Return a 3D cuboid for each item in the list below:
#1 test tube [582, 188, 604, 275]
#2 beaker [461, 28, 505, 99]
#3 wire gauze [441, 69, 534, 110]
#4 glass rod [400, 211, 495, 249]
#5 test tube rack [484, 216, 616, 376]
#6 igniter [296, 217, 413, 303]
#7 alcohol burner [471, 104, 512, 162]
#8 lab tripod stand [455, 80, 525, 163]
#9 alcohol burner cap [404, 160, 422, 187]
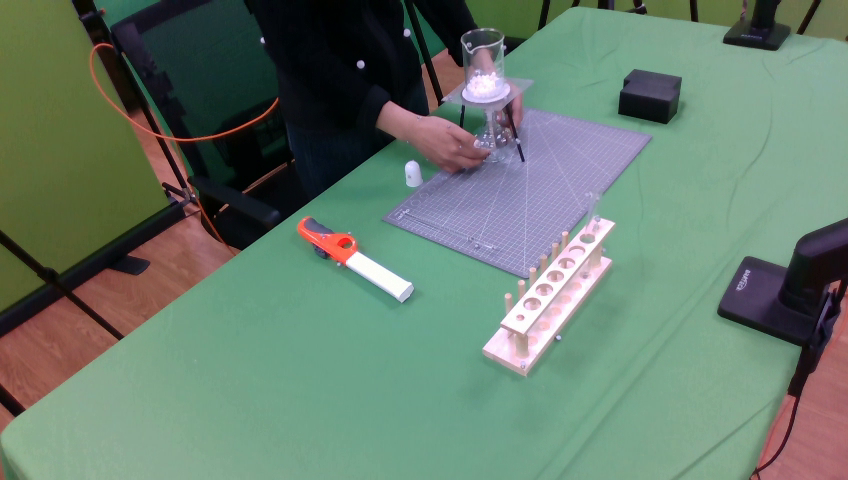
[{"bbox_3d":[0.228,-0.007,0.821,0.017,0.151,0.017,-3,42,3],"label":"test tube"},{"bbox_3d":[0.103,-0.304,1.051,0.073,0.101,0.084,19,48,29],"label":"beaker"},{"bbox_3d":[0.114,-0.268,1.082,0.120,0.011,0.125,22,47,29],"label":"wire gauze"},{"bbox_3d":[0.035,-0.018,1.001,0.198,0.008,0.008,22,49,35],"label":"glass rod"},{"bbox_3d":[0.174,0.064,0.823,0.066,0.085,0.243,23,49,32],"label":"test tube rack"},{"bbox_3d":[-0.121,0.025,0.970,0.274,0.025,0.057,29,63,37],"label":"igniter"},{"bbox_3d":[0.125,-0.207,1.125,0.078,0.119,0.077,-5,42,5],"label":"alcohol burner"},{"bbox_3d":[0.120,-0.219,1.126,0.148,0.132,0.147,-4,39,4],"label":"lab tripod stand"},{"bbox_3d":[-0.022,-0.125,1.118,0.034,0.048,0.033,-5,40,5],"label":"alcohol burner cap"}]
